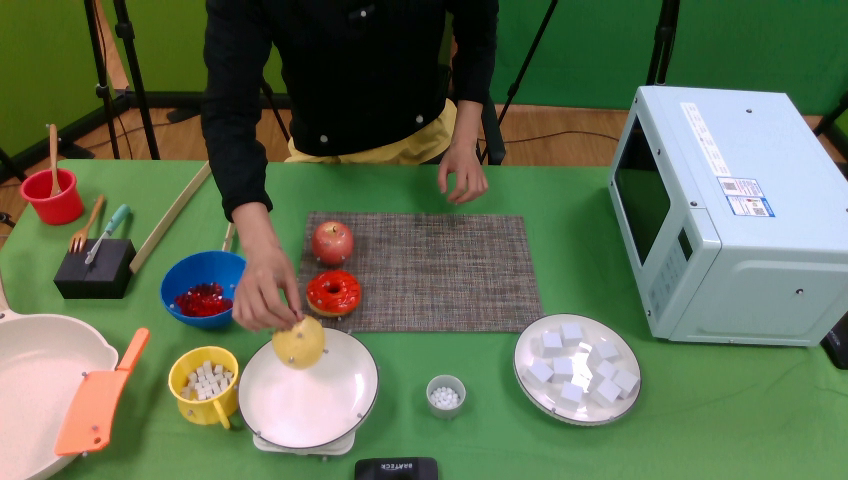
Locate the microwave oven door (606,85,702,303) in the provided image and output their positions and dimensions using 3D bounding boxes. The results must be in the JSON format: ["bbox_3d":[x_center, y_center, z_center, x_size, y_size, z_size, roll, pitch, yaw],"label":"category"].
[{"bbox_3d":[0.422,-0.094,1.140,0.039,0.245,0.353,2,46,-1],"label":"microwave oven door"}]

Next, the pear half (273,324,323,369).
[{"bbox_3d":[-0.178,0.159,0.866,0.070,0.088,0.031,-7,45,-14],"label":"pear half"}]

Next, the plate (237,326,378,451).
[{"bbox_3d":[-0.173,0.224,0.917,0.209,0.038,0.208,2,46,-2],"label":"plate"}]

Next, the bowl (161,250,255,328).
[{"bbox_3d":[-0.362,0.098,1.040,0.151,0.077,0.150,2,45,-2],"label":"bowl"}]

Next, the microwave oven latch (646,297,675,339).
[{"bbox_3d":[0.412,0.134,1.061,0.030,0.029,0.078,4,45,1],"label":"microwave oven latch"}]

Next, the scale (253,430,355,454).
[{"bbox_3d":[-0.175,0.236,0.951,0.149,0.032,0.199,4,45,0],"label":"scale"}]

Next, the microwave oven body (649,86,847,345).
[{"bbox_3d":[0.567,-0.053,1.118,0.326,0.261,0.439,2,45,-1],"label":"microwave oven body"}]

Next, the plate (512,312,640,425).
[{"bbox_3d":[0.246,0.213,0.999,0.208,0.039,0.206,2,46,-2],"label":"plate"}]

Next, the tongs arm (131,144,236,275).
[{"bbox_3d":[-0.483,-0.076,1.236,0.028,0.028,0.385,5,45,13],"label":"tongs arm"}]

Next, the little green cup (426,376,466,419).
[{"bbox_3d":[0.033,0.248,0.950,0.061,0.039,0.061,2,46,-2],"label":"little green cup"}]

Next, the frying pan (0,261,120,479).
[{"bbox_3d":[-0.647,0.164,0.936,0.307,0.103,0.485,-19,58,-22],"label":"frying pan"}]

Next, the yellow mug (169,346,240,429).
[{"bbox_3d":[-0.323,0.231,0.922,0.100,0.064,0.130,-24,53,-25],"label":"yellow mug"}]

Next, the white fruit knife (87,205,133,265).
[{"bbox_3d":[-0.584,-0.013,1.129,0.016,0.027,0.206,0,31,-5],"label":"white fruit knife"}]

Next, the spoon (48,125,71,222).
[{"bbox_3d":[-0.718,-0.132,1.188,0.042,0.021,0.193,-3,90,-7],"label":"spoon"}]

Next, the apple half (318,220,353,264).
[{"bbox_3d":[-0.162,0.001,1.144,0.053,0.075,0.080,-25,50,-29],"label":"apple half"}]

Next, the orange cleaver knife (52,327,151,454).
[{"bbox_3d":[-0.462,0.212,0.879,0.077,0.012,0.210,6,45,-1],"label":"orange cleaver knife"}]

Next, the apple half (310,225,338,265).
[{"bbox_3d":[-0.193,0.017,1.125,0.033,0.081,0.081,-26,53,-31],"label":"apple half"}]

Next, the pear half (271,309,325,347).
[{"bbox_3d":[-0.185,0.127,0.884,0.076,0.110,0.055,-5,45,-14],"label":"pear half"}]

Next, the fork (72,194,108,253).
[{"bbox_3d":[-0.634,-0.035,1.158,0.028,0.019,0.206,-8,32,-8],"label":"fork"}]

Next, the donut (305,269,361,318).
[{"bbox_3d":[-0.160,0.095,1.075,0.099,0.048,0.098,4,45,-4],"label":"donut"}]

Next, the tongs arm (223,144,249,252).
[{"bbox_3d":[-0.397,-0.073,1.232,0.051,0.027,0.382,-3,45,1],"label":"tongs arm"}]
